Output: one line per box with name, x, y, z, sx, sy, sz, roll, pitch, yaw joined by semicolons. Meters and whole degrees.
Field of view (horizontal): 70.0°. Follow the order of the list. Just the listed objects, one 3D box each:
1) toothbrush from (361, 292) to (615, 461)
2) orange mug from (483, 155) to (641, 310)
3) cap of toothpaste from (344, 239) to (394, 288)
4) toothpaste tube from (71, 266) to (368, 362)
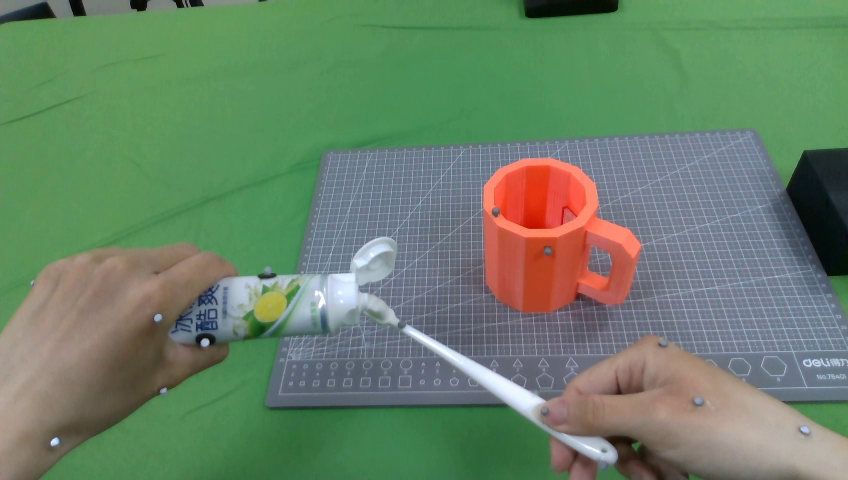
toothbrush;0.028;0.073;0.353;0.180;0.017;0.014;27;55;32
orange mug;0.105;0.001;0.480;0.125;0.102;0.083;22;55;29
cap of toothpaste;-0.032;0.016;0.376;0.037;0.038;0.011;-33;53;-19
toothpaste tube;-0.115;0.036;0.350;0.165;0.035;0.054;-3;68;-7
